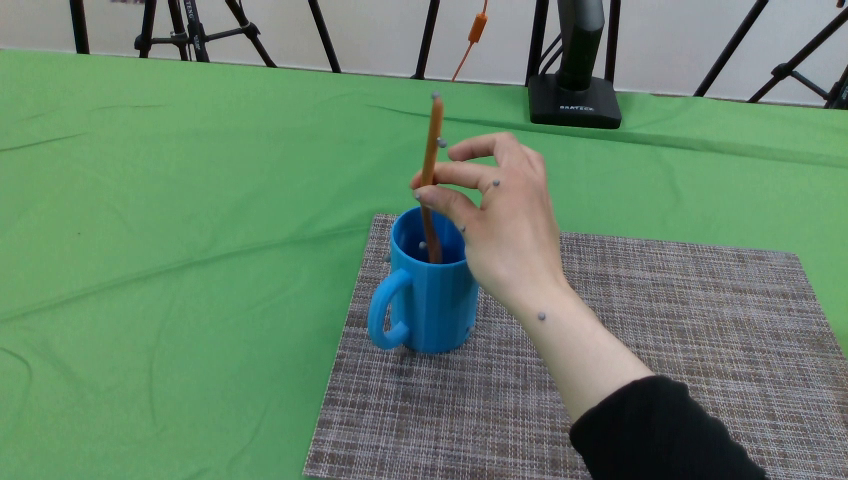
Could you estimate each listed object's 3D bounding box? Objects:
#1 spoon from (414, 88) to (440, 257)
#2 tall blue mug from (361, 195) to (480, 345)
[{"bbox_3d":[0.000,-0.033,0.470,0.021,0.195,0.041,3,49,2],"label":"spoon"},{"bbox_3d":[0.000,0.037,0.506,0.077,0.109,0.106,12,44,8],"label":"tall blue mug"}]
